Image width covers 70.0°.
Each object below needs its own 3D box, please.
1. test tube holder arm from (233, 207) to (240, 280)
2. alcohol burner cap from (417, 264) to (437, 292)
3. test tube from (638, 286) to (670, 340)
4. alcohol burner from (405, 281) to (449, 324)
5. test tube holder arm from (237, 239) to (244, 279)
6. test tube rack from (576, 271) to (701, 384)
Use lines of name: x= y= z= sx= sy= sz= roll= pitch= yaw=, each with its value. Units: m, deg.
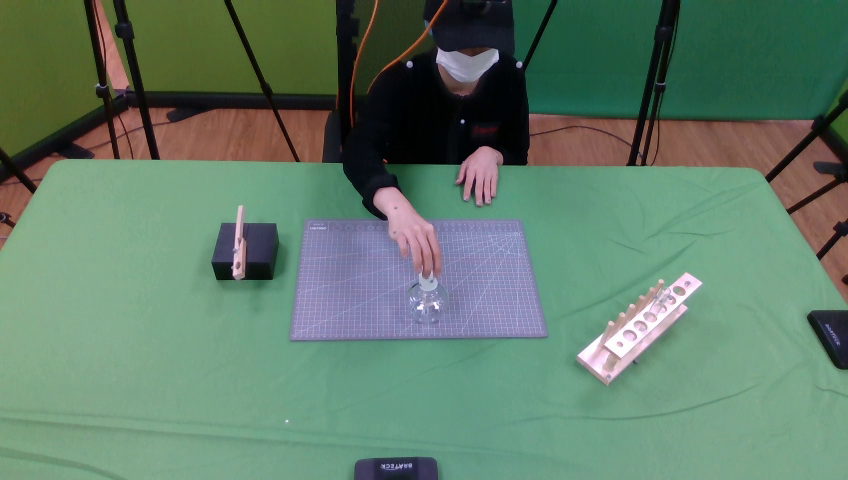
test tube holder arm: x=-0.341 y=0.002 z=1.106 sx=0.013 sy=0.015 sz=0.177 roll=-11 pitch=47 yaw=-8
alcohol burner cap: x=0.004 y=0.061 z=1.013 sx=0.034 sy=0.048 sz=0.033 roll=-4 pitch=50 yaw=5
test tube: x=0.373 y=0.122 z=0.994 sx=0.017 sy=0.151 sz=0.017 roll=0 pitch=51 yaw=0
alcohol burner: x=0.005 y=0.089 z=1.043 sx=0.078 sy=0.120 sz=0.077 roll=1 pitch=45 yaw=-1
test tube holder arm: x=-0.325 y=0.032 z=1.076 sx=0.010 sy=0.015 sz=0.087 roll=-10 pitch=47 yaw=-7
test tube rack: x=0.373 y=0.138 z=1.047 sx=0.242 sy=0.085 sz=0.066 roll=-31 pitch=56 yaw=-29
